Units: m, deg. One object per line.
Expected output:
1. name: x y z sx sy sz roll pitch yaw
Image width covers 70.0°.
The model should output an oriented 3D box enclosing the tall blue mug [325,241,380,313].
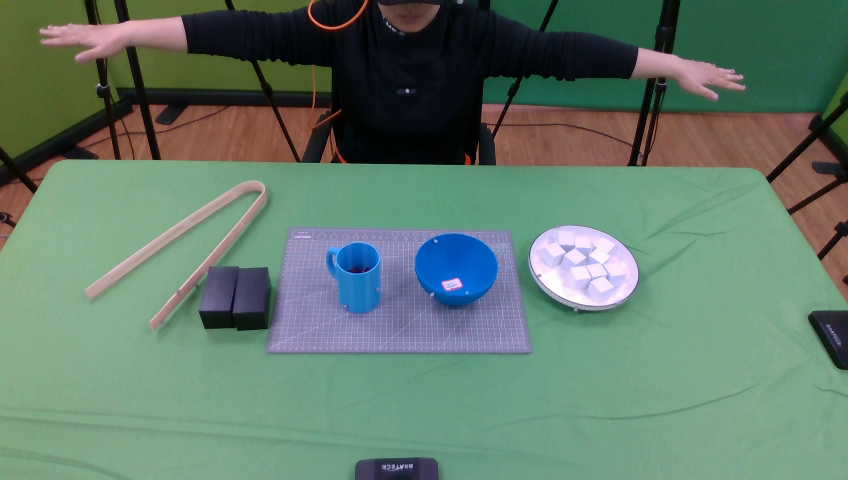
1. tall blue mug: -0.130 0.063 1.062 0.107 0.108 0.077 9 47 5

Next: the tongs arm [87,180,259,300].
1. tongs arm: -0.473 -0.011 1.172 0.028 0.028 0.387 22 49 29

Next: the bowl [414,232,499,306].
1. bowl: 0.056 0.065 1.095 0.151 0.077 0.150 2 46 -2

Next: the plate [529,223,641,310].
1. plate: 0.303 0.053 1.156 0.209 0.038 0.208 2 46 -1

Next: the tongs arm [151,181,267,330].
1. tongs arm: -0.400 0.014 1.145 0.050 0.027 0.383 14 46 18
